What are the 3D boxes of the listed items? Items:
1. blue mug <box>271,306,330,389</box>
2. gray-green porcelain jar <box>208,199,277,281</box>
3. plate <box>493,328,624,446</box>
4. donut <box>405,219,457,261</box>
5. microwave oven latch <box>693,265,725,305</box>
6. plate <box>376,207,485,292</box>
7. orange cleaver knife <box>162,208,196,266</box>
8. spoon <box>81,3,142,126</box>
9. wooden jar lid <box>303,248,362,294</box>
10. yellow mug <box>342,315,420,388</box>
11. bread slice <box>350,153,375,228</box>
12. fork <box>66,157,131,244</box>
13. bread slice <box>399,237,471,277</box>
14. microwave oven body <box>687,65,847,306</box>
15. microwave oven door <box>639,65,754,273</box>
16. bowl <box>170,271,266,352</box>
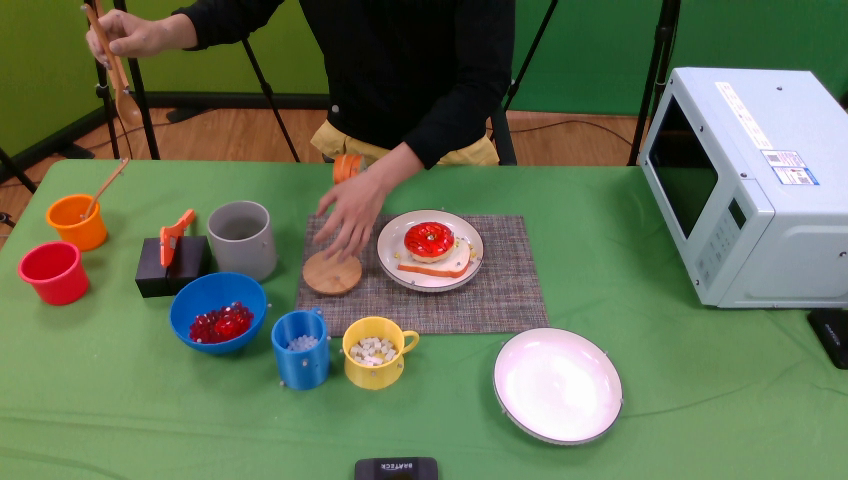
[{"bbox_3d":[-0.188,0.163,0.969,0.082,0.106,0.116,15,47,10],"label":"blue mug"},{"bbox_3d":[-0.323,0.007,1.092,0.106,0.127,0.105,2,46,-2],"label":"gray-green porcelain jar"},{"bbox_3d":[0.213,0.236,0.974,0.208,0.039,0.206,2,46,-2],"label":"plate"},{"bbox_3d":[0.012,-0.001,1.140,0.099,0.048,0.098,0,44,0],"label":"donut"},{"bbox_3d":[0.522,0.081,1.115,0.030,0.029,0.078,2,46,-1],"label":"microwave oven latch"},{"bbox_3d":[0.012,0.021,1.159,0.209,0.038,0.208,2,47,-2],"label":"plate"},{"bbox_3d":[-0.454,-0.010,1.129,0.012,0.077,0.210,-2,17,-6],"label":"orange cleaver knife"},{"bbox_3d":[-0.486,-0.269,0.944,0.021,0.195,0.041,8,37,18],"label":"spoon"},{"bbox_3d":[-0.169,0.060,1.122,0.108,0.021,0.107,2,46,-2],"label":"wooden jar lid"},{"bbox_3d":[-0.068,0.177,0.990,0.131,0.064,0.099,-15,50,-19],"label":"yellow mug"},{"bbox_3d":[-0.123,-0.104,1.207,0.018,0.135,0.106,-3,47,7],"label":"bread slice"},{"bbox_3d":[-0.608,-0.074,1.132,0.207,0.019,0.028,-52,49,10],"label":"fork"},{"bbox_3d":[0.025,0.025,1.161,0.131,0.019,0.104,7,47,8],"label":"bread slice"},{"bbox_3d":[0.669,-0.111,1.176,0.326,0.261,0.439,0,46,-3],"label":"microwave oven body"},{"bbox_3d":[0.522,-0.147,1.192,0.039,0.245,0.353,0,47,-3],"label":"microwave oven door"},{"bbox_3d":[-0.334,0.132,1.006,0.151,0.077,0.150,2,46,-2],"label":"bowl"}]
